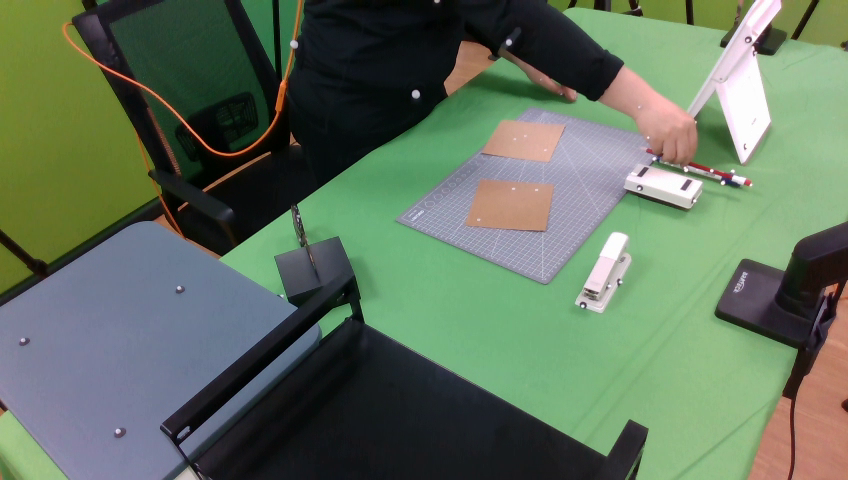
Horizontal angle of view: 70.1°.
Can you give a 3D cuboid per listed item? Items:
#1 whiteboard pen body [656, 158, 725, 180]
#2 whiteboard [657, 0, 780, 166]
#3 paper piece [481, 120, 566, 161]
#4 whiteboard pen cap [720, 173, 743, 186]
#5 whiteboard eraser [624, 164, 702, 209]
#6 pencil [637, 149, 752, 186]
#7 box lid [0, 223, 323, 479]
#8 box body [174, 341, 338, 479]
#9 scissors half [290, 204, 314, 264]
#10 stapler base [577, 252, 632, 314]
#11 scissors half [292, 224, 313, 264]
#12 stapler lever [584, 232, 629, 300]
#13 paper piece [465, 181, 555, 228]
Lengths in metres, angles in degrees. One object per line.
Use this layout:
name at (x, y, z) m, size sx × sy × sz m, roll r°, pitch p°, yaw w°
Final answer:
whiteboard pen body at (0.475, -0.123, 1.052) m, size 0.139 × 0.017 × 0.017 m, roll 23°, pitch 49°, yaw 31°
whiteboard at (0.571, -0.272, 1.038) m, size 0.143 × 0.306 × 0.218 m, roll 36°, pitch 54°, yaw 17°
paper piece at (0.197, -0.199, 1.188) m, size 0.135 × 0.004 × 0.135 m, roll 11°, pitch 43°, yaw 21°
whiteboard pen cap at (0.519, -0.103, 1.020) m, size 0.033 × 0.018 × 0.018 m, roll 23°, pitch 49°, yaw 29°
whiteboard eraser at (0.396, -0.087, 1.003) m, size 0.112 × 0.042 × 0.056 m, roll 23°, pitch 48°, yaw 31°
pencil at (0.453, -0.125, 1.025) m, size 0.192 × 0.012 × 0.012 m, roll 25°, pitch 50°, yaw 30°
box lid at (-0.318, 0.109, 0.671) m, size 0.368 × 0.015 × 0.264 m, roll 24°, pitch 49°, yaw 31°
box body at (-0.311, 0.165, 0.720) m, size 0.361 × 0.161 × 0.255 m, roll 23°, pitch 49°, yaw 32°
scissors half at (-0.190, -0.010, 0.945) m, size 0.013 × 0.040 × 0.173 m, roll -13°, pitch 37°, yaw -17°
stapler base at (0.264, 0.051, 0.875) m, size 0.041 × 0.024 × 0.131 m, roll 16°, pitch 47°, yaw 30°
scissors half at (-0.189, 0.007, 0.955) m, size 0.013 × 0.040 × 0.174 m, roll -17°, pitch 21°, yaw -14°
stapler lever at (0.261, 0.034, 0.858) m, size 0.026 × 0.040 × 0.118 m, roll 16°, pitch 46°, yaw 30°
paper piece at (0.150, -0.062, 1.034) m, size 0.137 × 0.009 × 0.136 m, roll 4°, pitch 37°, yaw 17°
